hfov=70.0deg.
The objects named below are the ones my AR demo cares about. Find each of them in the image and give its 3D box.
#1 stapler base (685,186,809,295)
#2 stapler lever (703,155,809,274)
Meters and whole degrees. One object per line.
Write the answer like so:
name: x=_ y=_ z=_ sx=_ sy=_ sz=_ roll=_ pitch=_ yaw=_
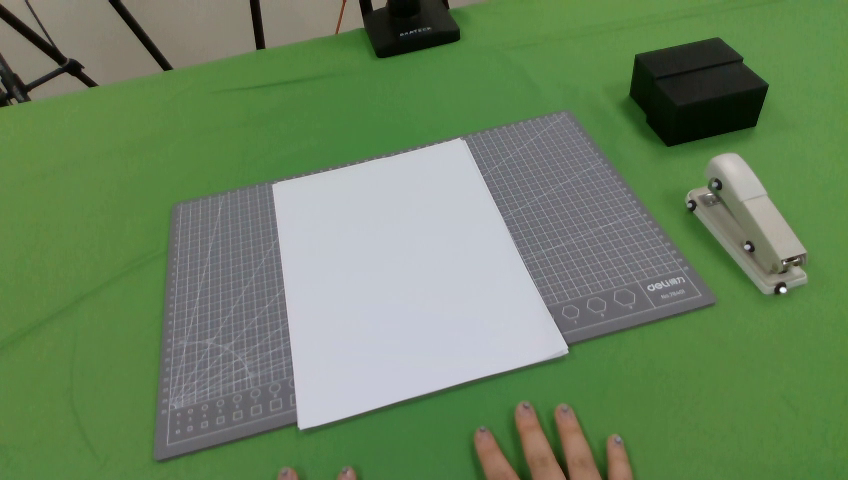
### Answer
stapler base: x=0.279 y=-0.010 z=0.528 sx=0.041 sy=0.025 sz=0.129 roll=-16 pitch=48 yaw=-5
stapler lever: x=0.277 y=-0.026 z=0.508 sx=0.027 sy=0.040 sz=0.116 roll=-16 pitch=48 yaw=-5
